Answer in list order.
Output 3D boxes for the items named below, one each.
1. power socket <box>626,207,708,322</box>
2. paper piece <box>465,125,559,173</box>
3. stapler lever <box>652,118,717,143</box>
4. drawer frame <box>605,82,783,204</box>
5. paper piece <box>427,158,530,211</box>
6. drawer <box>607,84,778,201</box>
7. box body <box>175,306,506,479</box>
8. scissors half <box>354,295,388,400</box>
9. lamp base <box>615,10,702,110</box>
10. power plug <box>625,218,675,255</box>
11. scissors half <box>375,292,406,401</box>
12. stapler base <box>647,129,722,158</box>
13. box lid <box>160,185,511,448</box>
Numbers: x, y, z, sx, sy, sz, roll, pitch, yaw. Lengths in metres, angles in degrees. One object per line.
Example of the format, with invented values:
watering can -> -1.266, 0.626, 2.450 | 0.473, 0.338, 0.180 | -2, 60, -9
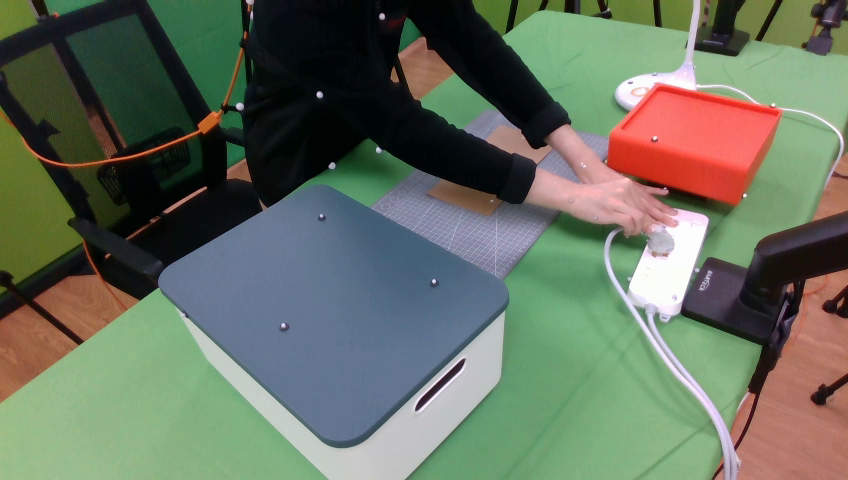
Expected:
power socket -> 0.360, 0.026, 0.887 | 0.072, 0.033, 0.227 | 16, 46, 26
paper piece -> 0.172, -0.177, 1.168 | 0.137, 0.009, 0.136 | 21, 45, 30
stapler lever -> 0.436, -0.192, 1.014 | 0.118, 0.040, 0.026 | -15, 24, -16
drawer frame -> 0.441, -0.167, 0.995 | 0.212, 0.083, 0.202 | 23, 48, 30
paper piece -> 0.098, -0.104, 1.089 | 0.134, 0.004, 0.136 | 22, 44, 31
drawer -> 0.439, -0.167, 0.996 | 0.210, 0.073, 0.195 | 23, 48, 30
box body -> -0.105, 0.111, 0.751 | 0.361, 0.161, 0.255 | 28, 52, 35
scissors half -> -0.068, 0.142, 0.818 | 0.040, 0.013, 0.174 | -20, 44, 0
lamp base -> 0.484, -0.364, 1.211 | 0.180, 0.181, 0.159 | -15, 41, -14
power plug -> 0.329, -0.005, 0.878 | 0.035, 0.053, 0.072 | -28, 44, -31
scissors half -> -0.048, 0.139, 0.817 | 0.040, 0.013, 0.174 | -4, 45, 8
stapler base -> 0.439, -0.167, 1.023 | 0.131, 0.024, 0.041 | -17, 25, -15
box lid -> -0.114, 0.055, 0.705 | 0.368, 0.015, 0.264 | 28, 51, 34
